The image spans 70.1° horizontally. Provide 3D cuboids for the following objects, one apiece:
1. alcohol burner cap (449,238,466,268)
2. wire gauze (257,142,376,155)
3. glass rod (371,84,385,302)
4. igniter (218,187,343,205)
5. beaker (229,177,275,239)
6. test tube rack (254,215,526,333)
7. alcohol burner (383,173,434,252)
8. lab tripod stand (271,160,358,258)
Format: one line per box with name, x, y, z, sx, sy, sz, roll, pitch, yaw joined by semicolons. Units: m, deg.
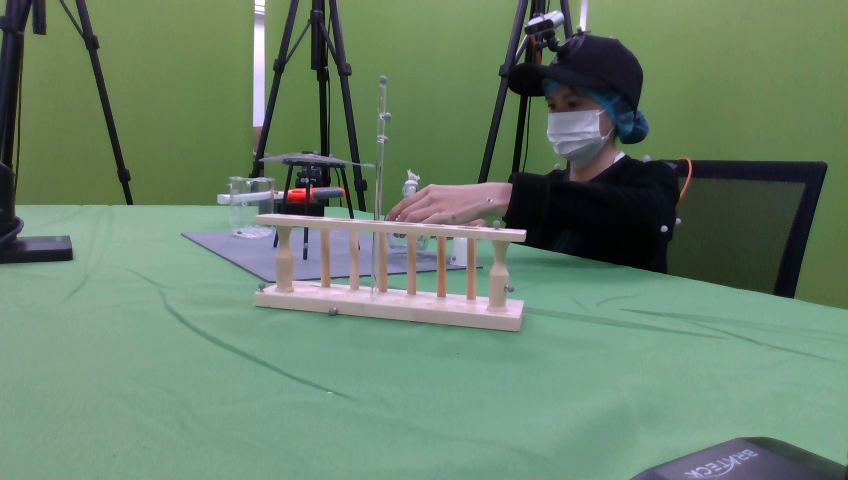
alcohol burner cap;0.051;0.014;0.828;0.034;0.048;0.034;2;5;0
wire gauze;-0.155;-0.130;0.871;0.124;0.011;0.122;-1;7;36
glass rod;-0.041;-0.041;0.548;0.008;0.199;0.008;2;2;0
igniter;-0.287;-0.093;1.257;0.278;0.025;0.057;-8;13;-41
beaker;-0.292;-0.056;1.023;0.074;0.100;0.083;-1;8;-26
test tube rack;-0.030;0.025;0.558;0.242;0.085;0.067;4;7;12
alcohol burner;-0.023;-0.041;0.899;0.078;0.119;0.078;2;-2;0
lab tripod stand;-0.160;-0.048;0.876;0.148;0.131;0.148;3;5;0
